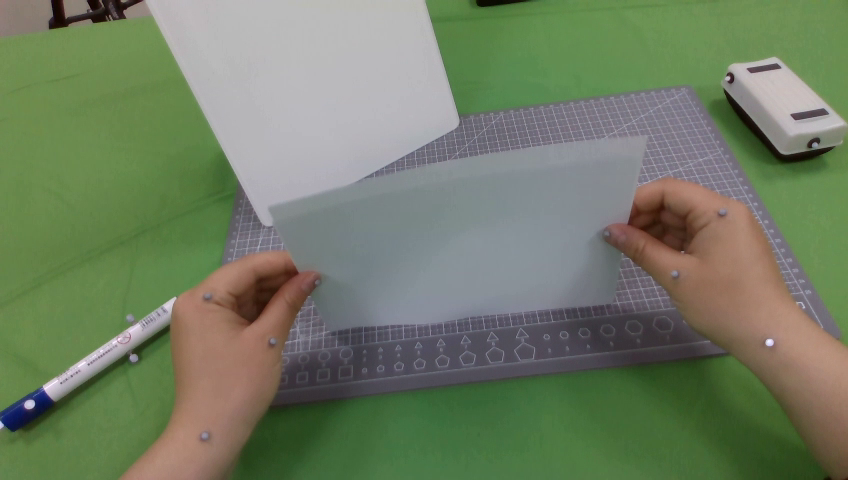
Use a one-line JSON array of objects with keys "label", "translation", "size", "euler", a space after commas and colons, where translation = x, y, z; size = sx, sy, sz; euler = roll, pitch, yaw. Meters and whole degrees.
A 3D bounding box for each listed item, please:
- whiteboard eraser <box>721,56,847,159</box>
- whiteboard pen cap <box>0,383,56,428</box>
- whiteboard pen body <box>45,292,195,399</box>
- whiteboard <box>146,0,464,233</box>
[{"label": "whiteboard eraser", "translation": [0.319, -0.119, 0.543], "size": [0.055, 0.042, 0.111], "euler": [-13, 49, -1]}, {"label": "whiteboard pen cap", "translation": [-0.278, 0.115, 0.428], "size": [0.033, 0.018, 0.018], "euler": [-38, 54, -25]}, {"label": "whiteboard pen body", "translation": [-0.236, 0.084, 0.452], "size": [0.140, 0.017, 0.017], "euler": [-38, 54, -25]}, {"label": "whiteboard", "translation": [-0.126, -0.204, 0.542], "size": [0.217, 0.308, 0.142], "euler": [-30, 31, -17]}]
